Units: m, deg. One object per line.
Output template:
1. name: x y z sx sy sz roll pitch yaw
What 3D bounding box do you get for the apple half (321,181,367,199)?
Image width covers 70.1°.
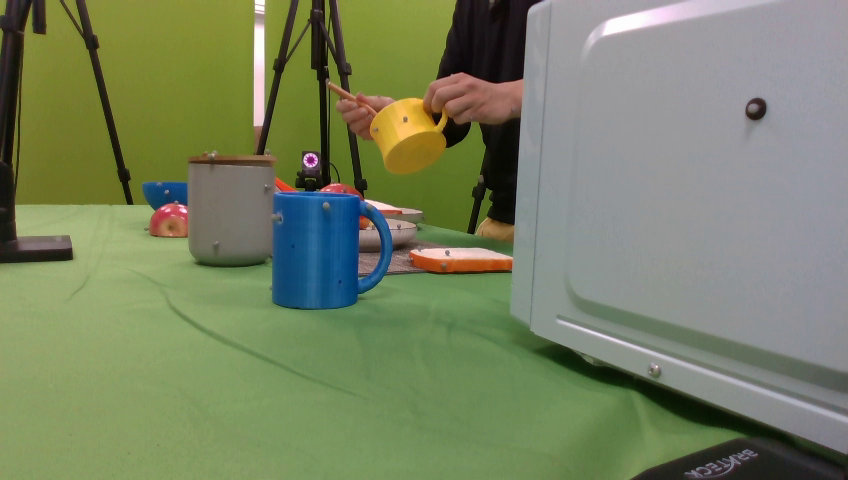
1. apple half: -0.129 -0.077 0.952 0.081 0.033 0.081 1 15 0

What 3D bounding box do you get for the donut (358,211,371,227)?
1. donut: -0.132 -0.041 0.959 0.099 0.048 0.099 3 8 0

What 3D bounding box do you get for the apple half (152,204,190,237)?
1. apple half: -0.415 -0.034 1.017 0.081 0.053 0.074 1 10 -9

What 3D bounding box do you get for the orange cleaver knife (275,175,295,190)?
1. orange cleaver knife: -0.283 -0.087 1.343 0.212 0.077 0.012 24 -16 -41

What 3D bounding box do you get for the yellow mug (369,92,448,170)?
1. yellow mug: -0.015 -0.168 0.898 0.130 0.064 0.100 -37 -26 29

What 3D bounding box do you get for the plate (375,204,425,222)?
1. plate: -0.102 -0.053 1.299 0.209 0.038 0.209 2 8 0

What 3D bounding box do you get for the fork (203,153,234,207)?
1. fork: -0.480 -0.135 1.411 0.028 0.018 0.207 1 -34 0

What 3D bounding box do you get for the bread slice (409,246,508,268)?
1. bread slice: 0.048 0.022 0.816 0.132 0.019 0.104 0 6 -24

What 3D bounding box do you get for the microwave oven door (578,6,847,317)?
1. microwave oven door: 0.294 -0.067 0.570 0.358 0.243 0.039 -3 9 -31

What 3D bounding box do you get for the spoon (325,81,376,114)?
1. spoon: -0.080 -0.197 0.939 0.193 0.021 0.042 40 -3 17

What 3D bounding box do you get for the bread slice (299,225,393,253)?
1. bread slice: -0.118 -0.003 0.969 0.106 0.018 0.135 3 14 40

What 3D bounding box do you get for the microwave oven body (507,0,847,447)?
1. microwave oven body: 0.331 -0.042 0.425 0.444 0.260 0.324 -2 8 -31

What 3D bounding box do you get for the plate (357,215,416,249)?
1. plate: -0.116 -0.014 0.967 0.208 0.039 0.207 2 7 0

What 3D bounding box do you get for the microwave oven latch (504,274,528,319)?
1. microwave oven latch: 0.100 0.041 0.471 0.079 0.029 0.030 -1 7 -28

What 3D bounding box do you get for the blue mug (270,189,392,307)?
1. blue mug: -0.090 0.005 0.588 0.117 0.106 0.082 1 7 -11

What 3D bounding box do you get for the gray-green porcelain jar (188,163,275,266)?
1. gray-green porcelain jar: -0.246 -0.034 0.780 0.106 0.126 0.106 1 7 0

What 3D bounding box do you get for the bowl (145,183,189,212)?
1. bowl: -0.459 -0.069 1.175 0.151 0.077 0.151 2 7 0

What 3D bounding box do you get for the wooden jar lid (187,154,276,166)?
1. wooden jar lid: -0.244 -0.097 0.771 0.108 0.020 0.108 -1 7 0
